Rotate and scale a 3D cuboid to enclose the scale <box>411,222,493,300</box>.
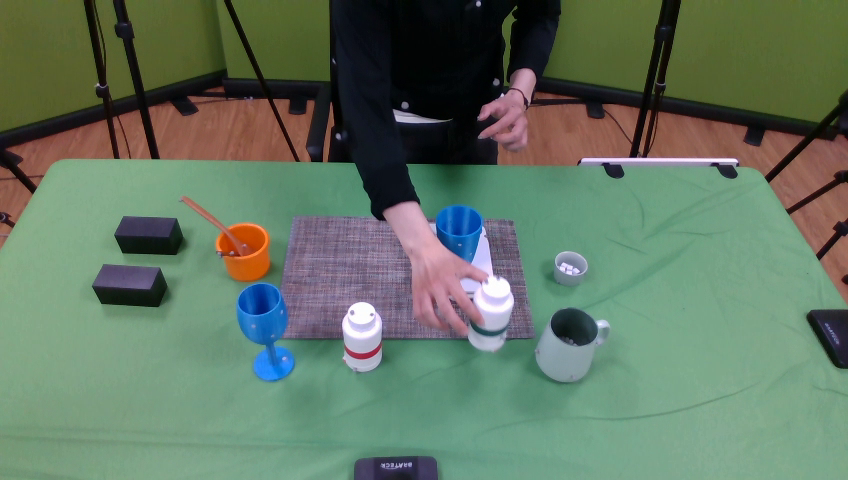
[{"bbox_3d":[0.052,0.031,1.158,0.149,0.032,0.199,1,46,-4],"label":"scale"}]

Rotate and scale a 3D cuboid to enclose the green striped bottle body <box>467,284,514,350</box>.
[{"bbox_3d":[0.104,0.112,0.945,0.063,0.120,0.063,3,42,-2],"label":"green striped bottle body"}]

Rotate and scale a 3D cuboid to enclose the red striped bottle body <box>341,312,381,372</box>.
[{"bbox_3d":[-0.100,0.154,0.972,0.063,0.120,0.062,2,46,-2],"label":"red striped bottle body"}]

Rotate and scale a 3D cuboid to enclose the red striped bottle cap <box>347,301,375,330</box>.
[{"bbox_3d":[-0.097,0.116,0.934,0.044,0.018,0.044,3,49,-3],"label":"red striped bottle cap"}]

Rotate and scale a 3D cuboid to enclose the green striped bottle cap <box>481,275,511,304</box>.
[{"bbox_3d":[0.108,0.074,0.909,0.044,0.020,0.044,2,45,-2],"label":"green striped bottle cap"}]

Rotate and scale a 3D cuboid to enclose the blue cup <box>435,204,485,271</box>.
[{"bbox_3d":[0.061,0.001,1.097,0.092,0.101,0.092,0,43,0],"label":"blue cup"}]

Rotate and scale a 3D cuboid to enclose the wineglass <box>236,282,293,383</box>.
[{"bbox_3d":[-0.243,0.143,0.934,0.074,0.173,0.073,2,46,-2],"label":"wineglass"}]

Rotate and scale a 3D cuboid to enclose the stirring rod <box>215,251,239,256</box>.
[{"bbox_3d":[-0.339,0.024,1.059,0.014,0.176,0.006,16,86,-6],"label":"stirring rod"}]

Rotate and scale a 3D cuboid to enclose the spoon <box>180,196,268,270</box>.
[{"bbox_3d":[-0.360,-0.014,1.095,0.021,0.194,0.041,-27,26,31],"label":"spoon"}]

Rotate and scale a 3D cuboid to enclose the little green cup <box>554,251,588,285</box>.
[{"bbox_3d":[0.277,0.055,1.151,0.061,0.039,0.061,1,46,-1],"label":"little green cup"}]

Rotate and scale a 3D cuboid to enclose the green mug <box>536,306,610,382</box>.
[{"bbox_3d":[0.250,0.167,0.996,0.125,0.105,0.092,-16,49,-19],"label":"green mug"}]
